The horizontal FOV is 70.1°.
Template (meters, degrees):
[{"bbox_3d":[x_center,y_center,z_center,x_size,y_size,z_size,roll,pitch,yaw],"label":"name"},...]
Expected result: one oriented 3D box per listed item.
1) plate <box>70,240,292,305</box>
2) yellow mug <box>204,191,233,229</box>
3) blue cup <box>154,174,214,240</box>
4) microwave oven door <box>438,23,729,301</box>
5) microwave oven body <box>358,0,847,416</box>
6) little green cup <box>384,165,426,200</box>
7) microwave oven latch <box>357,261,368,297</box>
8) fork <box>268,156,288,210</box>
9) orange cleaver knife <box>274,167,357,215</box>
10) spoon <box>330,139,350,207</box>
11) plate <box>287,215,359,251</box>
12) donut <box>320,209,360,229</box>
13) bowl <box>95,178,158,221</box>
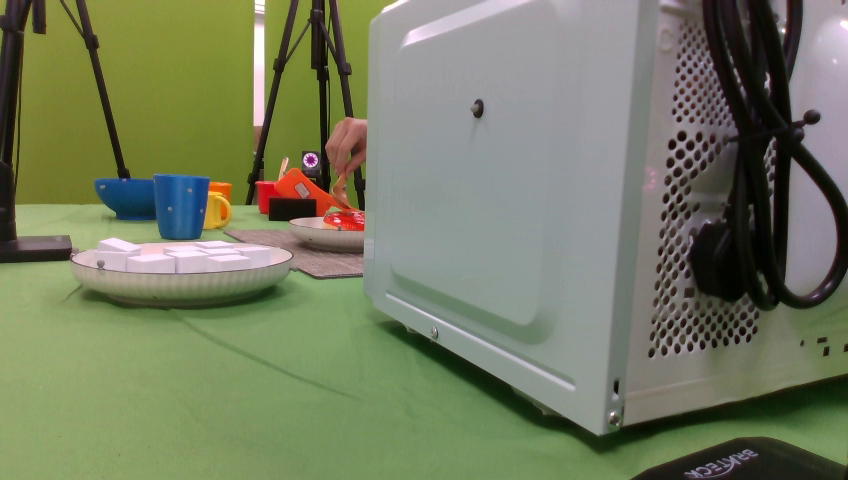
[{"bbox_3d":[-0.242,0.031,0.618,0.208,0.039,0.207,2,8,0],"label":"plate"},{"bbox_3d":[-0.415,-0.057,1.132,0.130,0.064,0.100,6,8,16],"label":"yellow mug"},{"bbox_3d":[-0.390,-0.053,0.978,0.093,0.100,0.092,3,6,0],"label":"blue cup"},{"bbox_3d":[0.181,-0.072,0.620,0.358,0.243,0.039,-2,8,-29],"label":"microwave oven door"},{"bbox_3d":[0.211,-0.047,0.474,0.444,0.260,0.324,-1,7,-28],"label":"microwave oven body"},{"bbox_3d":[-0.027,-0.087,0.928,0.061,0.038,0.061,-17,-4,-1],"label":"little green cup"},{"bbox_3d":[-0.019,0.033,0.531,0.079,0.029,0.030,-1,7,-28],"label":"microwave oven latch"},{"bbox_3d":[-0.360,-0.144,1.508,0.028,0.018,0.207,2,49,0],"label":"fork"},{"bbox_3d":[-0.238,-0.090,1.381,0.212,0.077,0.012,31,0,-19],"label":"orange cleaver knife"},{"bbox_3d":[-0.141,-0.116,1.013,0.042,0.021,0.193,37,29,-33],"label":"spoon"},{"bbox_3d":[-0.112,-0.012,0.960,0.209,0.038,0.209,3,8,0],"label":"plate"},{"bbox_3d":[-0.115,-0.023,0.961,0.099,0.048,0.099,5,8,0],"label":"donut"},{"bbox_3d":[-0.576,-0.081,1.217,0.151,0.077,0.151,3,8,0],"label":"bowl"}]
